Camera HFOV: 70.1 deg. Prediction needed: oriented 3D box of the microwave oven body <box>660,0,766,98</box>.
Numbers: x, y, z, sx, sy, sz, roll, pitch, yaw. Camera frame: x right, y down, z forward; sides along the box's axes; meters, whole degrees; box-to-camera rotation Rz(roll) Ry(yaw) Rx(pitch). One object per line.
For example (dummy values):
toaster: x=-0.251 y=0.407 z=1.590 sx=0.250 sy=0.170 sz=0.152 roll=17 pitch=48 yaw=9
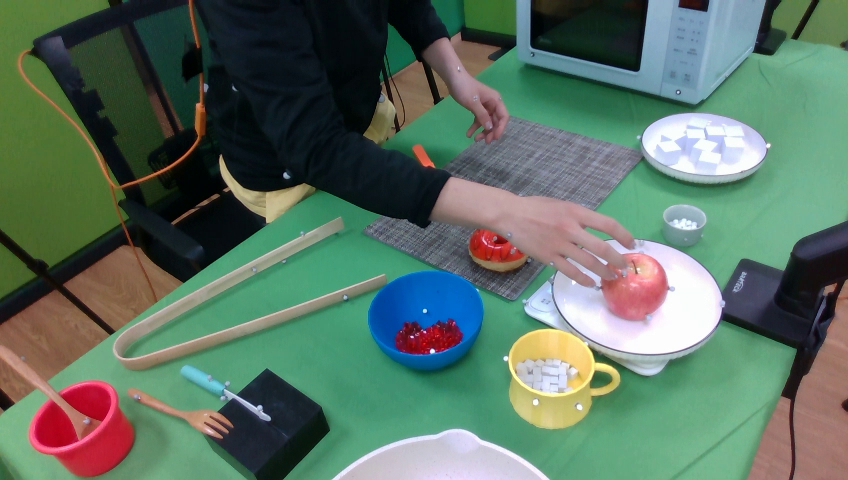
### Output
microwave oven body: x=0.472 y=-0.513 z=1.317 sx=0.438 sy=0.261 sz=0.327 roll=26 pitch=51 yaw=34

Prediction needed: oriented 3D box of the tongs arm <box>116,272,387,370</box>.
tongs arm: x=-0.237 y=0.113 z=0.869 sx=0.389 sy=0.028 sz=0.028 roll=-18 pitch=48 yaw=-12

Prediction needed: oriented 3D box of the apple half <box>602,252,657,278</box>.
apple half: x=0.263 y=0.042 z=0.784 sx=0.081 sy=0.081 sz=0.032 roll=-9 pitch=43 yaw=-1

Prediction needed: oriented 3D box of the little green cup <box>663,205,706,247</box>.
little green cup: x=0.396 y=-0.020 z=0.926 sx=0.061 sy=0.039 sz=0.061 roll=-4 pitch=40 yaw=4

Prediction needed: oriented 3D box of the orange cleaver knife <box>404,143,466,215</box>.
orange cleaver knife: x=0.005 y=-0.113 z=1.102 sx=0.077 sy=0.012 sz=0.209 roll=-23 pitch=45 yaw=-10

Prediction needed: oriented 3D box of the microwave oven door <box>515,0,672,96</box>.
microwave oven door: x=0.343 y=-0.455 z=1.259 sx=0.353 sy=0.245 sz=0.039 roll=26 pitch=51 yaw=33

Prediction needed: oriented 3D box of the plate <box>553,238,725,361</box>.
plate: x=0.273 y=0.078 z=0.783 sx=0.209 sy=0.038 sz=0.208 roll=-4 pitch=41 yaw=4

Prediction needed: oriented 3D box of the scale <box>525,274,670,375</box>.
scale: x=0.254 y=0.092 z=0.821 sx=0.199 sy=0.032 sz=0.149 roll=28 pitch=51 yaw=35

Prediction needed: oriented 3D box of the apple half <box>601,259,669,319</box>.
apple half: x=0.267 y=0.068 z=0.756 sx=0.081 sy=0.075 sz=0.053 roll=-6 pitch=43 yaw=-2

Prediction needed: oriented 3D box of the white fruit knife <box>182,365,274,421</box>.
white fruit knife: x=-0.245 y=0.188 z=0.747 sx=0.205 sy=0.027 sz=0.016 roll=9 pitch=41 yaw=40

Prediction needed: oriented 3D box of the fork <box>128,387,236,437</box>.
fork: x=-0.305 y=0.207 z=0.744 sx=0.206 sy=0.019 sz=0.028 roll=3 pitch=40 yaw=36

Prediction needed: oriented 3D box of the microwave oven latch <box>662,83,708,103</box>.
microwave oven latch: x=0.517 y=-0.296 z=1.204 sx=0.078 sy=0.029 sz=0.030 roll=28 pitch=52 yaw=35

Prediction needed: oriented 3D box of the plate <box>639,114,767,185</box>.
plate: x=0.489 y=-0.157 z=1.074 sx=0.207 sy=0.039 sz=0.206 roll=-4 pitch=40 yaw=4

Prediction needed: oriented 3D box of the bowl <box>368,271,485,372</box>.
bowl: x=0.007 y=0.119 z=0.791 sx=0.151 sy=0.077 sz=0.150 roll=-5 pitch=39 yaw=4

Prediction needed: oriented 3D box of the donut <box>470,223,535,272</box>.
donut: x=0.119 y=0.010 z=0.923 sx=0.099 sy=0.048 sz=0.098 roll=-4 pitch=37 yaw=3

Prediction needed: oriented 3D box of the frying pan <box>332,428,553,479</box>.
frying pan: x=-0.089 y=0.306 z=0.564 sx=0.487 sy=0.103 sz=0.306 roll=10 pitch=41 yaw=7

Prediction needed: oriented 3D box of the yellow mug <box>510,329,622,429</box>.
yellow mug: x=0.168 y=0.164 z=0.721 sx=0.130 sy=0.064 sz=0.099 roll=0 pitch=40 yaw=8

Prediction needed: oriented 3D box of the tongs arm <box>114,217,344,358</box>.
tongs arm: x=-0.280 y=0.067 z=0.927 sx=0.386 sy=0.026 sz=0.050 roll=-29 pitch=48 yaw=-23

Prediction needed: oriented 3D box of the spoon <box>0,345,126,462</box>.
spoon: x=-0.434 y=0.192 z=0.720 sx=0.194 sy=0.021 sz=0.042 roll=47 pitch=53 yaw=-6
